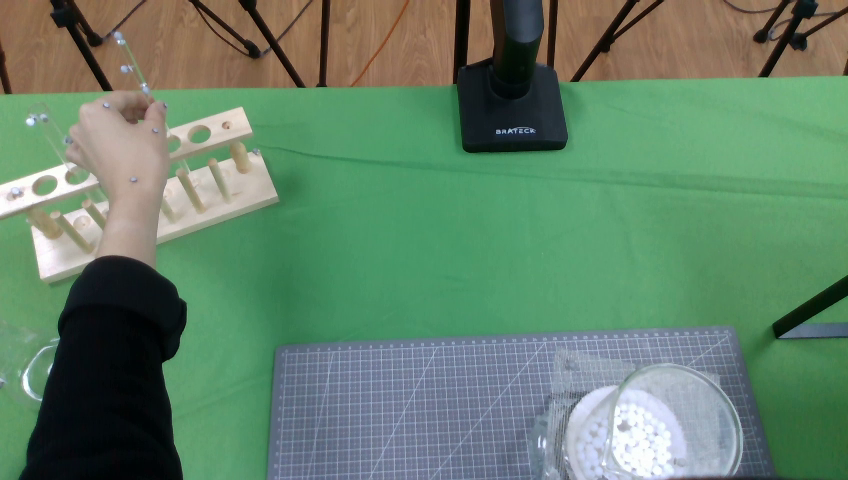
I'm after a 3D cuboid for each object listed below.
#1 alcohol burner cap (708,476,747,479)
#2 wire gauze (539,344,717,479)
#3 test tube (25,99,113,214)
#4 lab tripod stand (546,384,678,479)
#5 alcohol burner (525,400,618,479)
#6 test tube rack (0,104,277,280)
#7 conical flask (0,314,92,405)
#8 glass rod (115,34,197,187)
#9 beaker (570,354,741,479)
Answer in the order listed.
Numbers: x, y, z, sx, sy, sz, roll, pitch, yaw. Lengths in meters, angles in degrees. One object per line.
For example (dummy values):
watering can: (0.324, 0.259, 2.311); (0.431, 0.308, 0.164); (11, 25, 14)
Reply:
alcohol burner cap: (0.263, 0.216, 0.514); (0.034, 0.048, 0.033); (1, 64, -2)
wire gauze: (0.144, 0.140, 0.424); (0.121, 0.011, 0.124); (11, 62, 1)
test tube: (-0.324, -0.072, 0.563); (0.017, 0.151, 0.017); (1, 57, -1)
lab tripod stand: (0.137, 0.174, 0.481); (0.148, 0.132, 0.147); (1, 63, -2)
alcohol burner: (0.125, 0.166, 0.495); (0.078, 0.120, 0.077); (1, 62, -2)
test tube rack: (-0.281, -0.048, 0.607); (0.242, 0.086, 0.066); (-21, 66, -11)
conical flask: (-0.348, 0.093, 0.517); (0.075, 0.123, 0.074); (0, 63, -1)
glass rod: (-0.245, -0.110, 0.564); (0.008, 0.201, 0.008); (1, 59, -1)
beaker: (0.134, 0.123, 0.378); (0.084, 0.101, 0.073); (-24, 67, -12)
